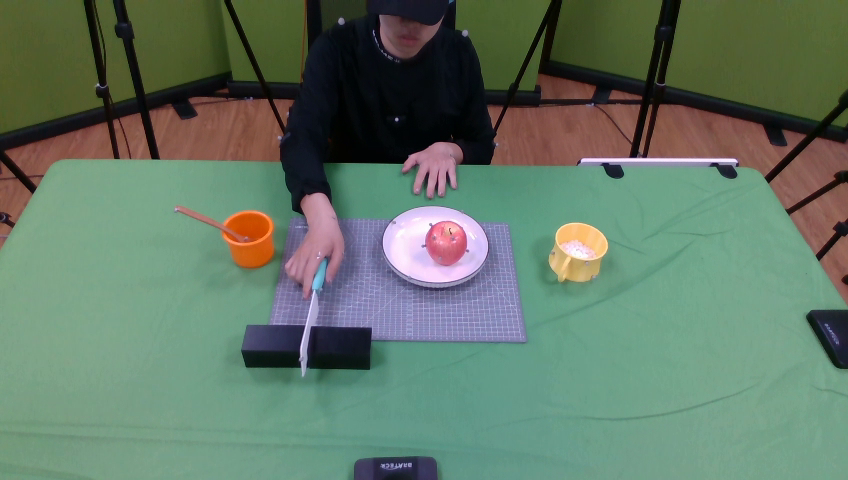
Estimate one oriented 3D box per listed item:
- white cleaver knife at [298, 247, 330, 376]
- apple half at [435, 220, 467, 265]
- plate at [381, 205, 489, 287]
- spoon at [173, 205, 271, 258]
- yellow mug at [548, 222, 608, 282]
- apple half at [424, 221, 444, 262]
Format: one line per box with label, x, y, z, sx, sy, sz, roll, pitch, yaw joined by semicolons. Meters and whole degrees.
white cleaver knife;-0.193;0.111;1.037;0.021;0.066;0.284;7;36;-4
apple half;0.054;0.009;1.142;0.053;0.075;0.080;14;44;3
plate;0.021;0.015;1.170;0.209;0.038;0.208;2;46;-2
spoon;-0.362;-0.017;1.098;0.021;0.195;0.041;-32;42;27
yellow mug;0.287;0.031;1.159;0.099;0.064;0.130;28;51;21
apple half;0.015;0.002;1.144;0.033;0.081;0.081;14;46;2
